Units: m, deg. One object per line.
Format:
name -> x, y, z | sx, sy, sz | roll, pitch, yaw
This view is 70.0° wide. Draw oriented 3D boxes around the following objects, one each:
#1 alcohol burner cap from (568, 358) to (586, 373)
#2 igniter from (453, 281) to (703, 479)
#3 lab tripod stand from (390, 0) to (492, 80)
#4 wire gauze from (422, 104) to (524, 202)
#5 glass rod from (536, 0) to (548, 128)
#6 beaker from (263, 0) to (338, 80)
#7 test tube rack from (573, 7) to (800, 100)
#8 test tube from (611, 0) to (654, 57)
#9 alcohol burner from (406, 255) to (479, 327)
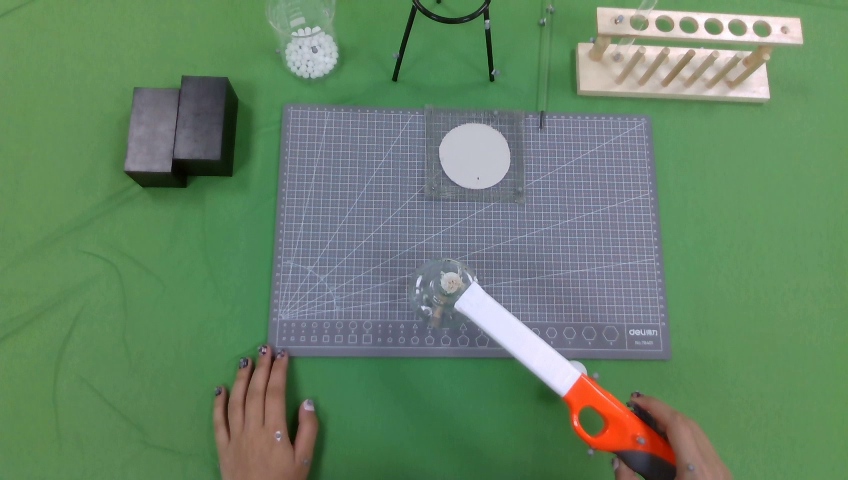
alcohol burner cap -> 0.159, 0.144, 0.658 | 0.034, 0.048, 0.033 | 1, 75, -2
igniter -> 0.139, 0.138, 0.548 | 0.276, 0.025, 0.057 | 40, 82, 6
lab tripod stand -> 0.021, -0.255, 0.697 | 0.148, 0.132, 0.147 | 0, 75, -1
wire gauze -> 0.058, -0.107, 0.726 | 0.125, 0.011, 0.121 | 3, 75, -2
glass rod -> 0.149, -0.233, 0.763 | 0.008, 0.008, 0.199 | 6, 77, -2
beaker -> -0.136, -0.240, 0.701 | 0.084, 0.100, 0.074 | -37, 81, -12
test tube rack -> 0.312, -0.223, 0.733 | 0.242, 0.085, 0.066 | 1, 76, -3
test tube -> 0.242, -0.256, 0.685 | 0.017, 0.151, 0.017 | 1, 73, -2
alcohol burner -> 0.021, 0.050, 0.631 | 0.078, 0.119, 0.077 | 1, 74, -5
